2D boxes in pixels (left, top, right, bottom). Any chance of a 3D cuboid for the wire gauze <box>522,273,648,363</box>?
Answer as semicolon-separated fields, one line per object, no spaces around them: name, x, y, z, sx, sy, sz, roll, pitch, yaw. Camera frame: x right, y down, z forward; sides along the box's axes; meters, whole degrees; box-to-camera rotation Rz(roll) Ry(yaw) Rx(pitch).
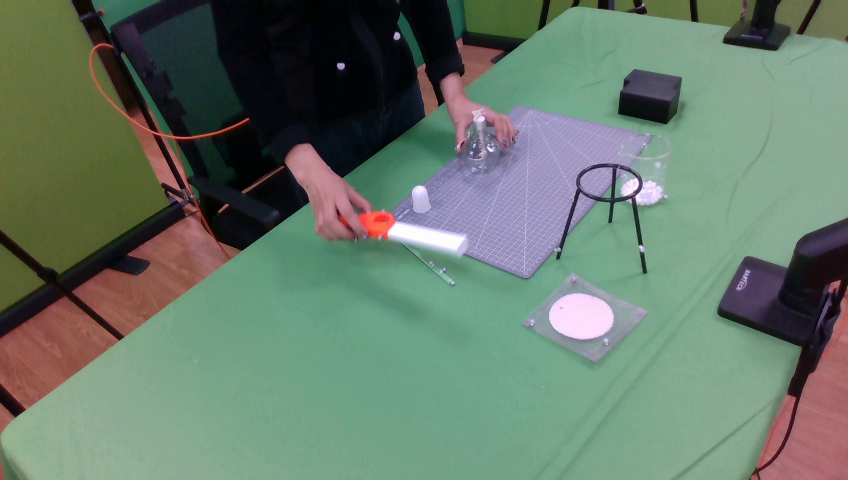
wire gauze;0.220;0.105;0.828;0.125;0.011;0.120;-35;47;-30

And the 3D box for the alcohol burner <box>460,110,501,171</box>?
alcohol burner;0.103;-0.186;1.105;0.078;0.119;0.077;-4;42;4

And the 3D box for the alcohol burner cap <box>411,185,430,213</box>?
alcohol burner cap;-0.008;-0.074;1.050;0.034;0.048;0.033;-4;41;4

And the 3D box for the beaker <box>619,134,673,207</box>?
beaker;0.357;-0.111;0.986;0.084;0.101;0.073;-10;40;1

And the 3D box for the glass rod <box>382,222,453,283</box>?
glass rod;-0.014;0.016;0.976;0.008;0.008;0.198;-30;44;-22

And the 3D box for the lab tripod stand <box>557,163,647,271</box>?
lab tripod stand;0.271;-0.034;0.885;0.148;0.132;0.147;-4;40;4

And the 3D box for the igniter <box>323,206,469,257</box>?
igniter;-0.054;-0.016;0.912;0.274;0.025;0.057;13;49;36
